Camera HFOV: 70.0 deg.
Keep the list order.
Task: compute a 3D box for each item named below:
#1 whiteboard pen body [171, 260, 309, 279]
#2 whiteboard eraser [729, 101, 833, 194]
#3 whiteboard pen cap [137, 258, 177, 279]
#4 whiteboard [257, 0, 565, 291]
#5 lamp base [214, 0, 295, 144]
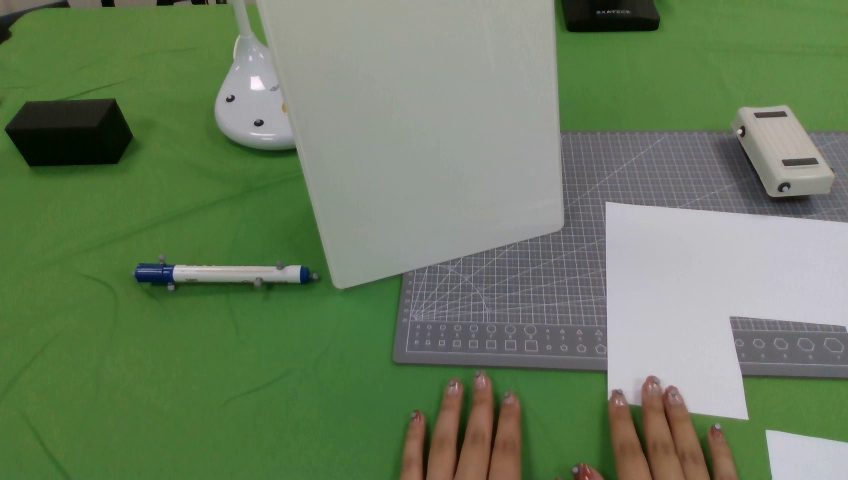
[{"bbox_3d":[-0.171,0.026,0.528,0.141,0.017,0.017,0,47,-1],"label":"whiteboard pen body"},{"bbox_3d":[0.340,-0.088,0.584,0.055,0.042,0.111,-1,47,1],"label":"whiteboard eraser"},{"bbox_3d":[-0.231,0.025,0.528,0.033,0.018,0.018,2,47,-3],"label":"whiteboard pen cap"},{"bbox_3d":[-0.013,-0.145,0.523,0.217,0.308,0.142,-15,29,-8],"label":"whiteboard"},{"bbox_3d":[-0.173,-0.222,0.650,0.160,0.182,0.177,-37,53,-27],"label":"lamp base"}]
